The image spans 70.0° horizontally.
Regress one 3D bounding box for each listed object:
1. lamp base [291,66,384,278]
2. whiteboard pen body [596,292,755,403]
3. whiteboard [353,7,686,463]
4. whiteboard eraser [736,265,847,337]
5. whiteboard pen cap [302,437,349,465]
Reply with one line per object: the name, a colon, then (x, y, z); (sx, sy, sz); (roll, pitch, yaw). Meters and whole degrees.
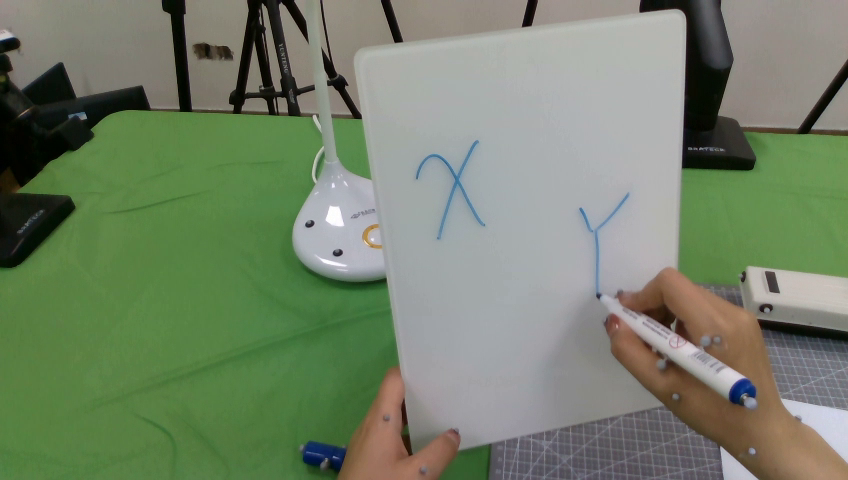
lamp base: (-0.078, -0.079, 0.632); (0.161, 0.182, 0.177); (-29, 43, -28)
whiteboard pen body: (0.150, 0.061, 0.383); (0.017, 0.017, 0.139); (-15, 23, -14)
whiteboard: (0.069, -0.011, 0.487); (0.217, 0.307, 0.142); (-9, 21, -7)
whiteboard eraser: (0.347, 0.057, 0.548); (0.112, 0.042, 0.055); (8, 42, 13)
whiteboard pen cap: (-0.075, 0.162, 0.466); (0.033, 0.018, 0.018); (5, 40, 11)
